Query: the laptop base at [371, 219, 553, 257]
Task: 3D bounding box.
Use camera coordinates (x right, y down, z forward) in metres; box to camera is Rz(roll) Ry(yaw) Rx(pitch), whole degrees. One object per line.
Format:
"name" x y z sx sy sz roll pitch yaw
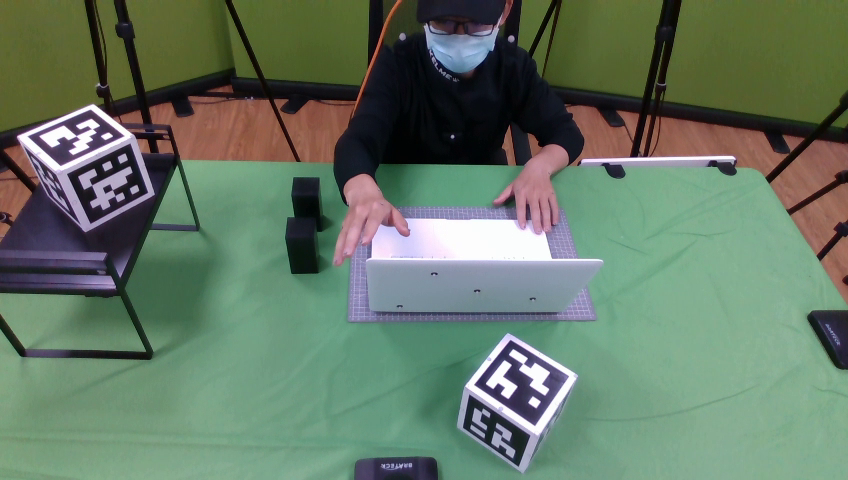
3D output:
"laptop base" 0.074 0.044 1.159 0.354 0.023 0.234 0 43 -3

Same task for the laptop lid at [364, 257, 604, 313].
"laptop lid" 0.084 0.077 0.972 0.357 0.242 0.013 1 64 -5
